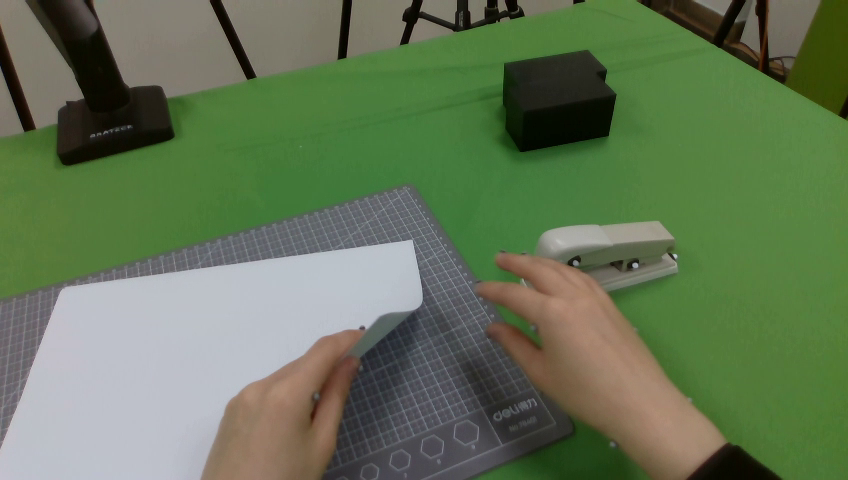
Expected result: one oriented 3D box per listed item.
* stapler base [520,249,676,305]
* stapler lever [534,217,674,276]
[{"bbox_3d":[0.144,0.018,0.498,0.131,0.024,0.041,-13,47,-13],"label":"stapler base"},{"bbox_3d":[0.144,0.000,0.481,0.118,0.040,0.026,-14,47,-12],"label":"stapler lever"}]
